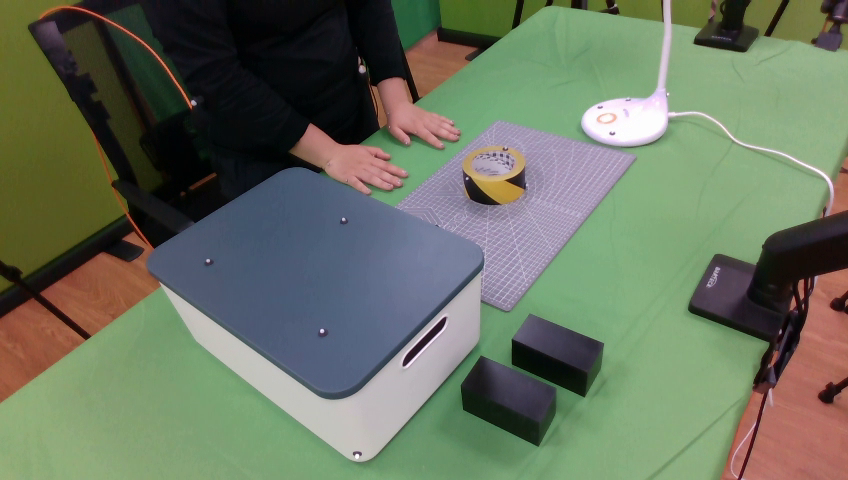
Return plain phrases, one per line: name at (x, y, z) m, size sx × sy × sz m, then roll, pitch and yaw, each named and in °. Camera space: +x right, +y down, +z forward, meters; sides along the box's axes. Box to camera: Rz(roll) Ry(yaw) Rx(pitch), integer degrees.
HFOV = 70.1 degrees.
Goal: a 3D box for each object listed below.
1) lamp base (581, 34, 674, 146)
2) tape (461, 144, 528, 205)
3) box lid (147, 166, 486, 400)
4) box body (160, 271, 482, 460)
lamp base at (0.393, -0.291, 1.129) m, size 0.180 × 0.181 × 0.159 m, roll -11°, pitch 41°, yaw -8°
tape at (0.124, -0.116, 1.058) m, size 0.117 × 0.053 × 0.116 m, roll -4°, pitch 42°, yaw 4°
box lid at (-0.136, 0.025, 0.738) m, size 0.368 × 0.015 × 0.264 m, roll 25°, pitch 50°, yaw 32°
box body at (-0.130, 0.079, 0.787) m, size 0.361 × 0.161 × 0.255 m, roll 25°, pitch 50°, yaw 32°
